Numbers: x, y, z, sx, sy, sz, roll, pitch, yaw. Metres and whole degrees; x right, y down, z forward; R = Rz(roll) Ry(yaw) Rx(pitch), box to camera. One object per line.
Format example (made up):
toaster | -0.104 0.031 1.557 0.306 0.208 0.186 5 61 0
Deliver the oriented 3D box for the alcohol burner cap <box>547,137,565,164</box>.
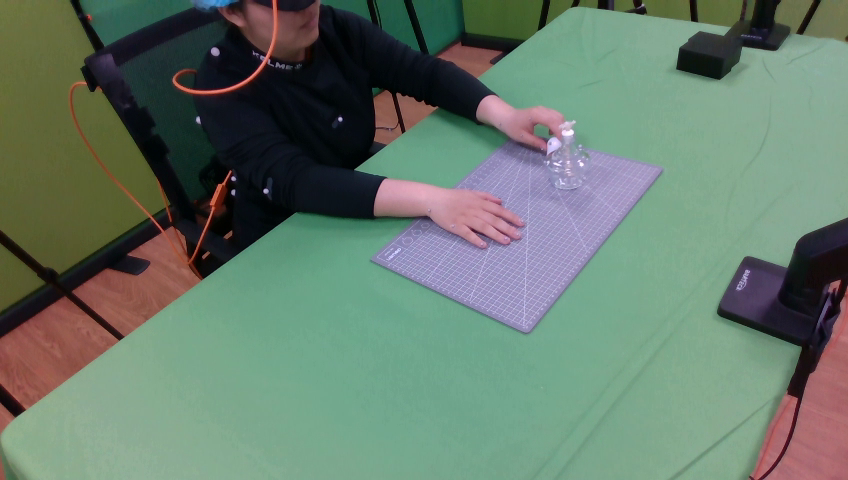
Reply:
alcohol burner cap | 0.243 -0.167 1.116 0.034 0.048 0.033 -6 40 6

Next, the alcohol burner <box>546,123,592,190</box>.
alcohol burner | 0.247 -0.146 1.034 0.078 0.120 0.077 -7 41 6
